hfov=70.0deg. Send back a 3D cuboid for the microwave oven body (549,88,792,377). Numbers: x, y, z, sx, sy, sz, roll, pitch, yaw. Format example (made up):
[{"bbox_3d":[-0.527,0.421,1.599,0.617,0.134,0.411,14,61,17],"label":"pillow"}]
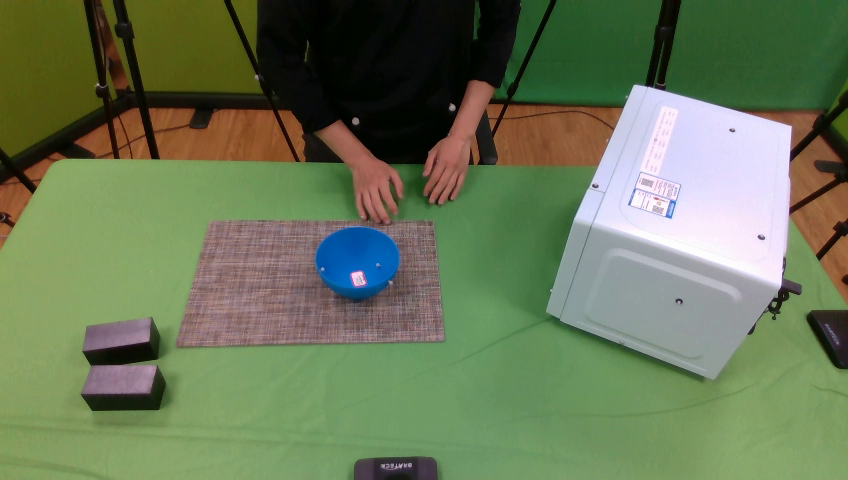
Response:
[{"bbox_3d":[0.456,-0.028,1.088,0.325,0.261,0.440,20,47,16],"label":"microwave oven body"}]

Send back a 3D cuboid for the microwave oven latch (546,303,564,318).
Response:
[{"bbox_3d":[0.242,0.102,1.081,0.030,0.029,0.079,21,48,17],"label":"microwave oven latch"}]

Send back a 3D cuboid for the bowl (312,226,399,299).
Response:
[{"bbox_3d":[-0.120,0.054,1.091,0.151,0.077,0.150,2,46,-2],"label":"bowl"}]

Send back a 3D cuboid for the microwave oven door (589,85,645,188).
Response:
[{"bbox_3d":[0.342,-0.107,1.149,0.039,0.245,0.354,20,48,15],"label":"microwave oven door"}]
